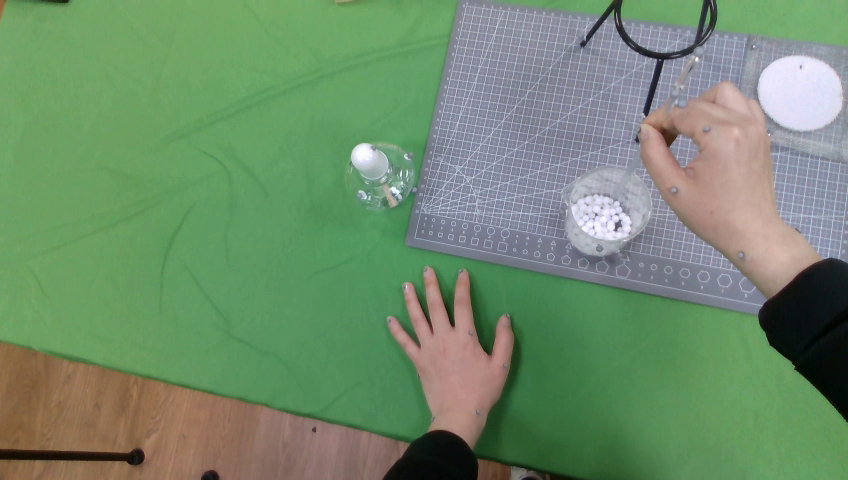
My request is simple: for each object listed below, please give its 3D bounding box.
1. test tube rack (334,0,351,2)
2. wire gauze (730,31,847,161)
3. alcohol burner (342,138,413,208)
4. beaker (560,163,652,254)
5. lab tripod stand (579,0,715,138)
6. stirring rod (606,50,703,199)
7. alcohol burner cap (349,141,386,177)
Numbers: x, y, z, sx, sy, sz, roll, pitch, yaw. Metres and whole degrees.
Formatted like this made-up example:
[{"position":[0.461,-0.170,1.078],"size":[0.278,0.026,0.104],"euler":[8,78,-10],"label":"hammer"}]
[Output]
[{"position":[0.001,-0.341,0.690],"size":[0.242,0.085,0.066],"euler":[-6,79,7],"label":"test tube rack"},{"position":[0.395,-0.156,0.639],"size":[0.125,0.011,0.121],"euler":[16,83,8],"label":"wire gauze"},{"position":[-0.053,-0.076,0.639],"size":[0.078,0.120,0.077],"euler":[-1,78,7],"label":"alcohol burner"},{"position":[0.173,-0.027,0.603],"size":[0.083,0.101,0.074],"euler":[17,83,12],"label":"beaker"},{"position":[0.225,-0.193,0.605],"size":[0.148,0.132,0.148],"euler":[-1,82,7],"label":"lab tripod stand"},{"position":[0.164,-0.076,0.447],"size":[0.014,0.177,0.006],"euler":[10,65,5],"label":"stirring rod"},{"position":[-0.059,-0.083,0.604],"size":[0.034,0.048,0.034],"euler":[-1,83,8],"label":"alcohol burner cap"}]
